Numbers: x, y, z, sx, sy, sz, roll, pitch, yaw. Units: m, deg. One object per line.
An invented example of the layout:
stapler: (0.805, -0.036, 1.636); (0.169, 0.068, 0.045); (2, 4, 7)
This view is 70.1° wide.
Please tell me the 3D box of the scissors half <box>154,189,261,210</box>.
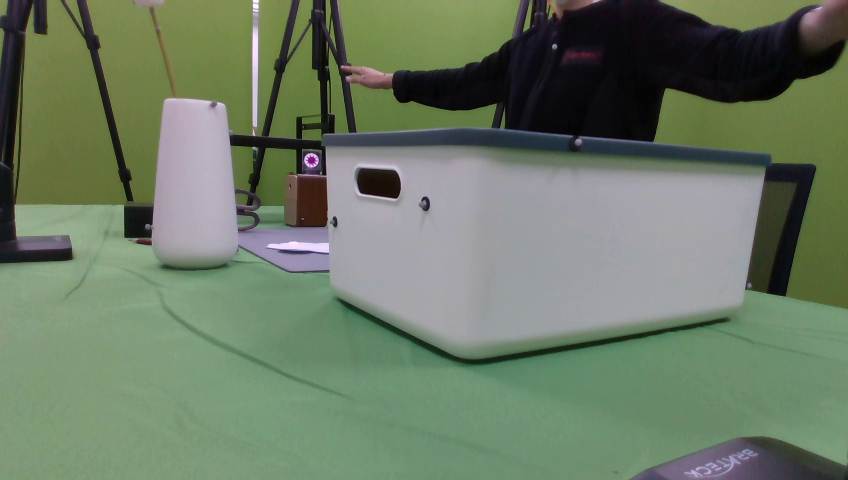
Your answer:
scissors half: (-0.373, -0.066, 1.049); (0.176, 0.040, 0.012); (-6, 12, -27)

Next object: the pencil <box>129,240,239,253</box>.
pencil: (-0.350, 0.008, 0.874); (0.193, 0.012, 0.012); (3, 7, 19)

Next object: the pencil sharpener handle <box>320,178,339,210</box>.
pencil sharpener handle: (-0.194, -0.095, 1.256); (0.031, 0.067, 0.036); (-2, -6, -36)

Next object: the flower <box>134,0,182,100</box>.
flower: (-0.282, -0.146, 0.712); (0.038, 0.362, 0.044); (-23, 24, -31)

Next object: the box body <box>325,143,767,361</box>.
box body: (0.111, -0.011, 0.584); (0.366, 0.160, 0.253); (-2, 9, -33)

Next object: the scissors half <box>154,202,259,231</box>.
scissors half: (-0.375, -0.046, 1.051); (0.176, 0.040, 0.013); (13, -2, -28)

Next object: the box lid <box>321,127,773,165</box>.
box lid: (0.113, -0.084, 0.573); (0.373, 0.015, 0.262); (-2, 8, -33)

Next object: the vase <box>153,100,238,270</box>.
vase: (-0.278, -0.066, 0.736); (0.098, 0.200, 0.098); (2, 9, 0)

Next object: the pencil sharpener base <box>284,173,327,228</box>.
pencil sharpener base: (-0.239, -0.081, 1.231); (0.077, 0.107, 0.061); (-2, 8, -36)
